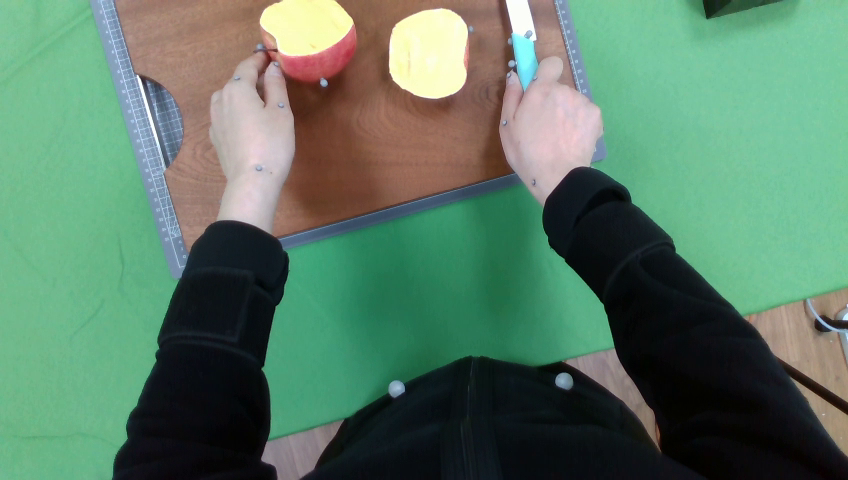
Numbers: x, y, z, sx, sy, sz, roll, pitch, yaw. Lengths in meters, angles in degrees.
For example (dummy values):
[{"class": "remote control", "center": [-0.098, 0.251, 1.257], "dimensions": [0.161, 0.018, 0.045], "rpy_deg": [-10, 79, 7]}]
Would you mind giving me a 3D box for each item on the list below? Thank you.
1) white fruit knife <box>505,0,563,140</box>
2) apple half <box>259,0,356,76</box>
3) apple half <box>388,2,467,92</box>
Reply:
[{"class": "white fruit knife", "center": [0.091, -0.191, 0.561], "dimensions": [0.027, 0.016, 0.207], "rpy_deg": [-12, 86, -15]}, {"class": "apple half", "center": [-0.102, -0.180, 0.543], "dimensions": [0.074, 0.054, 0.080], "rpy_deg": [-33, 63, -18]}, {"class": "apple half", "center": [0.005, -0.177, 0.559], "dimensions": [0.081, 0.032, 0.081], "rpy_deg": [2, 104, 10]}]
